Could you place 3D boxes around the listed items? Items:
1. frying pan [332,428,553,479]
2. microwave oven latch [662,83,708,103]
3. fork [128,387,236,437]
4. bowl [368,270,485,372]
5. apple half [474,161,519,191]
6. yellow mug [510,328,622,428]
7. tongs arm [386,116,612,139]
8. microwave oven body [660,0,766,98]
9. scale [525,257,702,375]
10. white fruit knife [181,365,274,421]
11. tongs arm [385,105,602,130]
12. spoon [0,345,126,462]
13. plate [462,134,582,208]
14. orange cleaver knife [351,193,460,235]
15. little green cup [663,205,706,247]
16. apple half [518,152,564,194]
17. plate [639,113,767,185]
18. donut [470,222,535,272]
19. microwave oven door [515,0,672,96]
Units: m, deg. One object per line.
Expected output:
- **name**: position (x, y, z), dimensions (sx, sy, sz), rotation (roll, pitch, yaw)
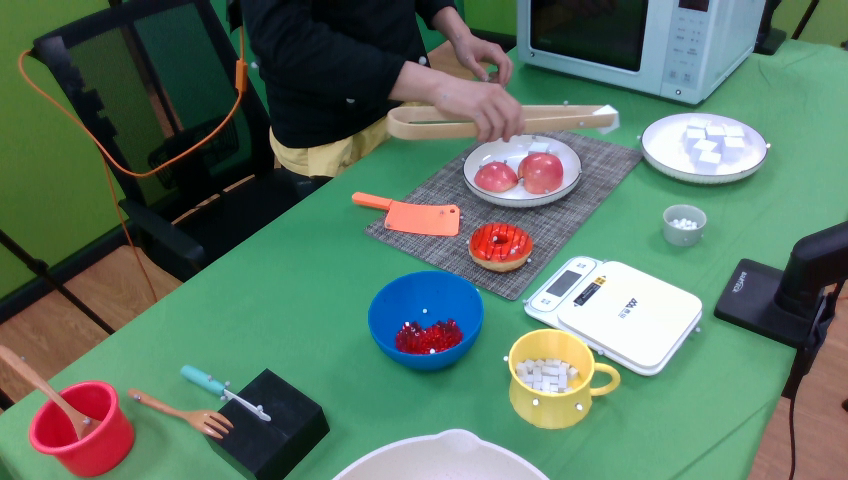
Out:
- **frying pan**: position (-0.089, 0.306, 0.564), dimensions (0.487, 0.103, 0.306), rotation (10, 41, 7)
- **microwave oven latch**: position (0.517, -0.296, 1.204), dimensions (0.078, 0.029, 0.030), rotation (27, 52, 35)
- **fork**: position (-0.305, 0.207, 0.744), dimensions (0.206, 0.019, 0.028), rotation (3, 41, 36)
- **bowl**: position (0.007, 0.118, 0.791), dimensions (0.151, 0.077, 0.150), rotation (-4, 40, 4)
- **apple half**: position (0.130, -0.119, 1.067), dimensions (0.081, 0.033, 0.081), rotation (-3, 36, 3)
- **yellow mug**: position (0.168, 0.164, 0.721), dimensions (0.130, 0.064, 0.099), rotation (0, 40, 8)
- **tongs arm**: position (0.131, -0.180, 0.946), dimensions (0.390, 0.028, 0.028), rotation (-6, 46, -21)
- **microwave oven body**: position (0.472, -0.513, 1.317), dimensions (0.438, 0.261, 0.327), rotation (26, 51, 34)
- **scale**: position (0.254, 0.091, 0.821), dimensions (0.199, 0.032, 0.149), rotation (28, 51, 35)
- **white fruit knife**: position (-0.245, 0.187, 0.747), dimensions (0.205, 0.027, 0.016), rotation (9, 41, 40)
- **tongs arm**: position (0.123, -0.194, 0.962), dimensions (0.387, 0.026, 0.050), rotation (-3, 41, -17)
- **spoon**: position (-0.434, 0.192, 0.720), dimensions (0.194, 0.021, 0.042), rotation (47, 53, -6)
- **plate**: position (0.173, -0.119, 1.071), dimensions (0.209, 0.038, 0.208), rotation (-4, 40, 4)
- **orange cleaver knife**: position (-0.036, -0.044, 1.029), dimensions (0.210, 0.012, 0.077), rotation (10, 48, 18)
- **little green cup**: position (0.396, -0.020, 0.926), dimensions (0.061, 0.039, 0.061), rotation (-4, 40, 4)
- **apple half**: position (0.204, -0.124, 1.048), dimensions (0.075, 0.053, 0.080), rotation (-6, 41, -2)
- **plate**: position (0.489, -0.157, 1.074), dimensions (0.207, 0.039, 0.206), rotation (-4, 40, 4)
- **donut**: position (0.119, 0.009, 0.923), dimensions (0.099, 0.048, 0.098), rotation (-4, 39, 3)
- **microwave oven door**: position (0.343, -0.454, 1.259), dimensions (0.353, 0.245, 0.039), rotation (26, 51, 33)
